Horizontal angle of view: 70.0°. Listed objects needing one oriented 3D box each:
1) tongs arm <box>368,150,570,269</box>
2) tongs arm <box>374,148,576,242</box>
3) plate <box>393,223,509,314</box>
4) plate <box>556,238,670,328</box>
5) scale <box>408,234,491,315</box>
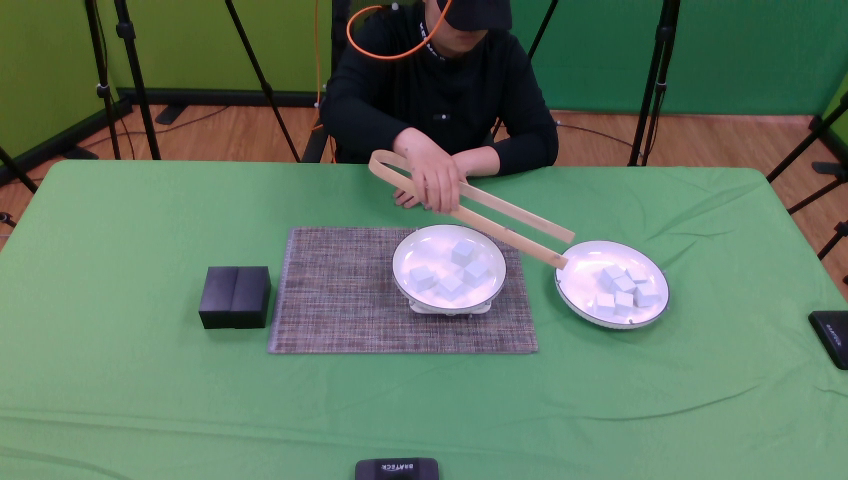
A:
[{"bbox_3d":[0.072,-0.055,1.037,0.384,0.026,0.050,26,36,6],"label":"tongs arm"},{"bbox_3d":[0.090,-0.080,1.082,0.387,0.028,0.028,23,39,1],"label":"tongs arm"},{"bbox_3d":[0.048,0.053,1.092,0.208,0.039,0.206,1,46,-1],"label":"plate"},{"bbox_3d":[0.347,0.083,1.130,0.209,0.038,0.208,2,47,-2],"label":"plate"},{"bbox_3d":[0.045,0.055,1.135,0.149,0.032,0.199,1,46,-3],"label":"scale"}]
